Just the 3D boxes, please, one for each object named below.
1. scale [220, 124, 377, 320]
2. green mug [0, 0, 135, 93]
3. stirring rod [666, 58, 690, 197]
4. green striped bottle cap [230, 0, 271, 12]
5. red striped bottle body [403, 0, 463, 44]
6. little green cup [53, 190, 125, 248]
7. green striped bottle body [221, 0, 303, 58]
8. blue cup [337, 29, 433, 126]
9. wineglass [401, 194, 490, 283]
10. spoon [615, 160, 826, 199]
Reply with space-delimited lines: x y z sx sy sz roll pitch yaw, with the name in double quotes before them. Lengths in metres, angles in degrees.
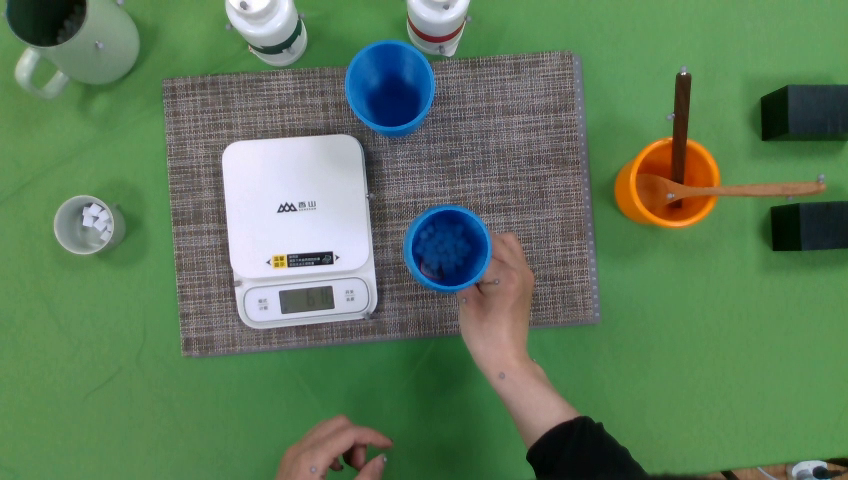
"scale" -0.132 -0.018 0.643 0.149 0.031 0.201 -6 91 -2
"green mug" -0.360 -0.203 0.602 0.092 0.105 0.125 30 89 -2
"stirring rod" 0.250 -0.104 0.600 0.014 0.178 0.006 12 56 27
"green striped bottle cap" -0.159 -0.230 0.545 0.044 0.020 0.044 0 90 0
"red striped bottle body" 0.009 -0.246 0.607 0.063 0.119 0.063 0 90 -2
"little green cup" -0.348 -0.021 0.636 0.061 0.038 0.061 0 91 -3
"green striped bottle body" -0.160 -0.229 0.601 0.063 0.119 0.063 0 90 -2
"blue cup" -0.034 -0.155 0.612 0.093 0.100 0.092 0 93 -1
"wineglass" 0.015 -0.001 0.534 0.074 0.172 0.073 0 91 -2
"spoon" 0.285 -0.062 0.603 0.022 0.192 0.042 -13 102 -45
